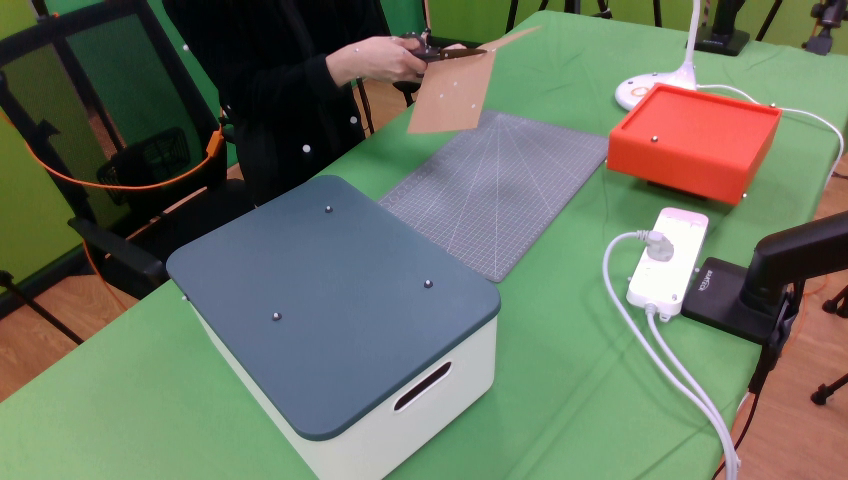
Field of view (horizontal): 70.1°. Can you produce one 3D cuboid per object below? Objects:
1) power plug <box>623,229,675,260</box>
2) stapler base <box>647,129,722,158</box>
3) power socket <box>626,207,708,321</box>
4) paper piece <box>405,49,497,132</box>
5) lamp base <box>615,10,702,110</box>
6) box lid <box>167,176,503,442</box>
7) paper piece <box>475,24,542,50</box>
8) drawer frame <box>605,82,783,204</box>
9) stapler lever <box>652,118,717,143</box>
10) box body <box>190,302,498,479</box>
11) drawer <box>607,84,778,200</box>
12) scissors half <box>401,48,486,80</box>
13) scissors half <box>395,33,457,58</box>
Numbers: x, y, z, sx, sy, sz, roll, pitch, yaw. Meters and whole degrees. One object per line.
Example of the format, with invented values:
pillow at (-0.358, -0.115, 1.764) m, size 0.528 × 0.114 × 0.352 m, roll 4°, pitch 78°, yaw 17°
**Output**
power plug at (0.327, 0.007, 0.878) m, size 0.072 × 0.053 × 0.035 m, roll 25°, pitch 50°, yaw 32°
stapler base at (0.439, -0.168, 1.023) m, size 0.131 × 0.024 × 0.041 m, roll -16°, pitch 25°, yaw -15°
power socket at (0.360, 0.026, 0.886) m, size 0.072 × 0.033 × 0.227 m, roll 16°, pitch 46°, yaw 26°
paper piece at (0.040, -0.229, 0.937) m, size 0.134 × 0.004 × 0.135 m, roll 3°, pitch 69°, yaw 38°
lamp base at (0.484, -0.364, 1.211) m, size 0.180 × 0.181 × 0.159 m, roll -15°, pitch 41°, yaw -14°
box lid at (-0.119, 0.047, 0.714) m, size 0.264 × 0.015 × 0.368 m, roll -32°, pitch 47°, yaw -27°
paper piece at (0.108, -0.322, 1.002) m, size 0.136 × 0.009 × 0.137 m, roll -34°, pitch 20°, yaw -37°
drawer frame at (0.441, -0.167, 0.995) m, size 0.212 × 0.083 × 0.202 m, roll 23°, pitch 48°, yaw 30°
stapler lever at (0.436, -0.192, 1.014) m, size 0.118 × 0.040 × 0.026 m, roll -16°, pitch 25°, yaw -16°
box body at (-0.110, 0.103, 0.761) m, size 0.255 × 0.161 × 0.361 m, roll -33°, pitch 46°, yaw -27°
drawer at (0.438, -0.167, 0.995) m, size 0.210 × 0.073 × 0.195 m, roll 23°, pitch 48°, yaw 30°
scissors half at (0.031, -0.290, 0.982) m, size 0.174 × 0.040 × 0.013 m, roll -1°, pitch 34°, yaw 43°
scissors half at (0.024, -0.307, 0.971) m, size 0.174 × 0.040 × 0.013 m, roll 18°, pitch 51°, yaw 28°
